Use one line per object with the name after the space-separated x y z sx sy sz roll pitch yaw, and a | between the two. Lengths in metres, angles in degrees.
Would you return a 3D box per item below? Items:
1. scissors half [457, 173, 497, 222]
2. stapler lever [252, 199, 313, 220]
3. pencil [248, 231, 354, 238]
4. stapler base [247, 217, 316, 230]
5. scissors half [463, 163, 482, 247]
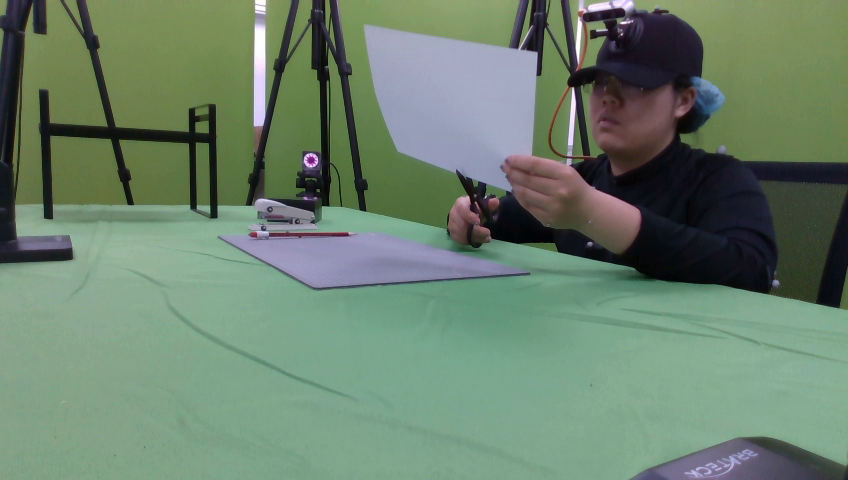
0.083 -0.070 0.948 0.012 0.040 0.176 23 -5 29 | scissors half
-0.273 -0.058 1.170 0.119 0.040 0.026 0 10 -37 | stapler lever
-0.206 -0.009 1.039 0.195 0.012 0.012 0 8 -36 | pencil
-0.276 -0.033 1.172 0.131 0.024 0.041 0 10 -37 | stapler base
0.072 -0.051 0.940 0.013 0.175 0.040 18 51 27 | scissors half
